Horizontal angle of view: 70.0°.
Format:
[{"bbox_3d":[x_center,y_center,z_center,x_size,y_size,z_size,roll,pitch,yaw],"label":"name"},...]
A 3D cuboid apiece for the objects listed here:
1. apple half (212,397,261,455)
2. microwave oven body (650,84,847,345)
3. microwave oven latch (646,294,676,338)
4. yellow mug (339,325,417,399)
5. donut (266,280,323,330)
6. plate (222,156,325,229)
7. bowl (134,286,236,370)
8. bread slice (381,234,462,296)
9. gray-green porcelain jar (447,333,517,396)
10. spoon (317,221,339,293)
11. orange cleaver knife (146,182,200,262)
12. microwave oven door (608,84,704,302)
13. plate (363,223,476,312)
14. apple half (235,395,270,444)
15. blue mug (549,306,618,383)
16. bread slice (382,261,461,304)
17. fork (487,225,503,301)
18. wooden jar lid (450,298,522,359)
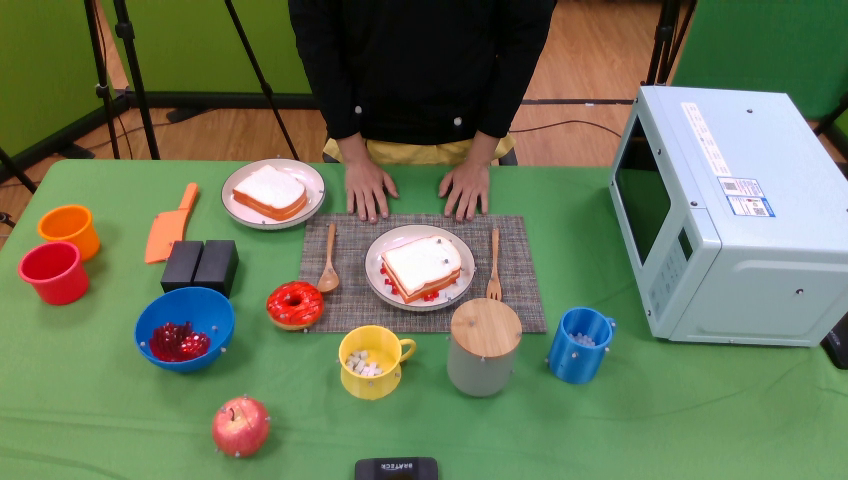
[{"bbox_3d":[-0.276,0.276,0.877,0.053,0.075,0.080,-29,58,-21],"label":"apple half"},{"bbox_3d":[0.569,-0.054,1.116,0.326,0.261,0.439,2,46,-1],"label":"microwave oven body"},{"bbox_3d":[0.412,0.133,1.060,0.030,0.029,0.078,3,46,0],"label":"microwave oven latch"},{"bbox_3d":[-0.072,0.191,0.978,0.131,0.064,0.099,-17,50,-20],"label":"yellow mug"},{"bbox_3d":[-0.223,0.113,1.051,0.099,0.048,0.098,2,46,-2],"label":"donut"},{"bbox_3d":[-0.308,-0.095,1.251,0.209,0.038,0.208,2,46,-2],"label":"plate"},{"bbox_3d":[-0.377,0.156,0.981,0.151,0.077,0.150,2,46,-2],"label":"bowl"},{"bbox_3d":[0.001,0.038,1.107,0.134,0.018,0.106,-25,56,-23],"label":"bread slice"},{"bbox_3d":[0.091,0.178,0.960,0.106,0.127,0.105,2,46,-2],"label":"gray-green porcelain jar"},{"bbox_3d":[-0.178,0.028,1.149,0.041,0.022,0.192,-16,46,11],"label":"spoon"},{"bbox_3d":[-0.494,-0.039,1.198,0.077,0.012,0.210,-3,48,2],"label":"orange cleaver knife"},{"bbox_3d":[0.424,-0.096,1.138,0.039,0.245,0.353,3,46,-1],"label":"microwave oven door"},{"bbox_3d":[-0.009,0.054,1.126,0.208,0.039,0.206,2,46,-2],"label":"plate"},{"bbox_3d":[-0.245,0.260,0.893,0.033,0.082,0.081,-29,55,-22],"label":"apple half"},{"bbox_3d":[0.269,0.167,0.997,0.116,0.106,0.082,-19,50,-21],"label":"blue mug"},{"bbox_3d":[0.000,0.055,1.129,0.131,0.019,0.104,-22,51,-21],"label":"bread slice"},{"bbox_3d":[0.137,0.042,1.160,0.028,0.019,0.206,0,48,8],"label":"fork"},{"bbox_3d":[0.093,0.135,0.914,0.108,0.021,0.107,3,48,-3],"label":"wooden jar lid"}]
